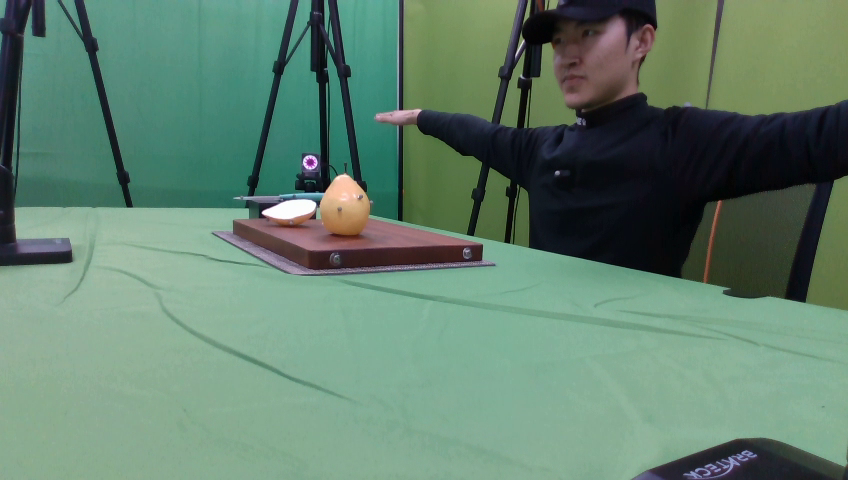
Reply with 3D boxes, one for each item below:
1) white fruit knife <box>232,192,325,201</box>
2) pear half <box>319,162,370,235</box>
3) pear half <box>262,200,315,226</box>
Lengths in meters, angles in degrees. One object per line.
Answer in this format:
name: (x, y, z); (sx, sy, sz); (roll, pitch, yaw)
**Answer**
white fruit knife: (-0.302, -0.090, 1.291); (0.208, 0.016, 0.027); (-4, -12, -27)
pear half: (-0.111, -0.061, 0.894); (0.055, 0.110, 0.077); (8, 13, 40)
pear half: (-0.223, -0.041, 1.008); (0.088, 0.031, 0.070); (-11, 22, 2)
